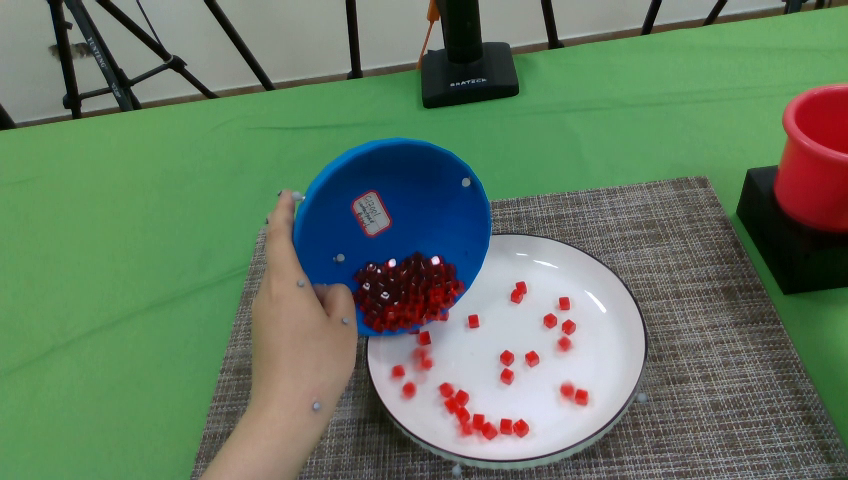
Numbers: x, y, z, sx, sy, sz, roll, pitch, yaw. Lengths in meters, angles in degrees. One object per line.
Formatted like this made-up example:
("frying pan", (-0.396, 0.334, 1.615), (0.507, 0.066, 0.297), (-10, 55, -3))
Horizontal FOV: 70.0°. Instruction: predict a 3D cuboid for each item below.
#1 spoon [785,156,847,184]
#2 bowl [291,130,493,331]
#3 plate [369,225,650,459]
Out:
("spoon", (0.309, -0.060, 0.394), (0.041, 0.194, 0.021), (-26, 87, -5))
("bowl", (-0.033, -0.016, 0.460), (0.151, 0.153, 0.076), (-25, 31, -13))
("plate", (0.063, 0.073, 0.466), (0.207, 0.039, 0.205), (-6, 45, 6))
